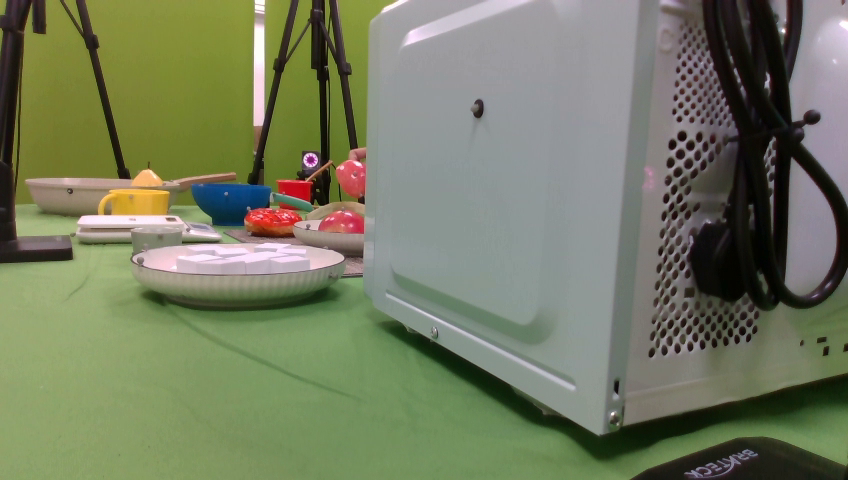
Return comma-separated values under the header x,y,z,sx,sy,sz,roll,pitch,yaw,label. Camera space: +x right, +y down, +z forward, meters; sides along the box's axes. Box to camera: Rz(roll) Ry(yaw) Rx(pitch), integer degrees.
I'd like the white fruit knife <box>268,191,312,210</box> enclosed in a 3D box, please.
x,y,z,sx,sy,sz,roll,pitch,yaw,label
-0.364,-0.105,1.464,0.208,0.027,0.016,15,0,-34,white fruit knife

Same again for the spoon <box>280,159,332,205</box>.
x,y,z,sx,sy,sz,roll,pitch,yaw,label
-0.316,-0.159,1.640,0.194,0.022,0.041,-50,32,-20,spoon

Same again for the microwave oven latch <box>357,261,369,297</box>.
x,y,z,sx,sy,sz,roll,pitch,yaw,label
-0.019,0.033,0.531,0.079,0.029,0.030,-1,7,-27,microwave oven latch

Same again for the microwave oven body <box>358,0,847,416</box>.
x,y,z,sx,sy,sz,roll,pitch,yaw,label
0.211,-0.047,0.474,0.444,0.260,0.324,-1,7,-28,microwave oven body

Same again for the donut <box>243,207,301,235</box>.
x,y,z,sx,sy,sz,roll,pitch,yaw,label
-0.261,-0.032,1.043,0.099,0.048,0.099,4,9,0,donut

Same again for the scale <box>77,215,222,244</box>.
x,y,z,sx,sy,sz,roll,pitch,yaw,label
-0.434,-0.019,0.963,0.202,0.031,0.148,-1,9,-27,scale

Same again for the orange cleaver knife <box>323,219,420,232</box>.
x,y,z,sx,sy,sz,roll,pitch,yaw,label
-0.096,-0.027,1.152,0.077,0.012,0.212,1,7,41,orange cleaver knife

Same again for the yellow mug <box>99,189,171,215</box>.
x,y,z,sx,sy,sz,roll,pitch,yaw,label
-0.519,-0.055,1.080,0.099,0.064,0.131,7,9,26,yellow mug

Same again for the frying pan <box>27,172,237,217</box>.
x,y,z,sx,sy,sz,roll,pitch,yaw,label
-0.624,-0.118,1.387,0.305,0.102,0.490,8,17,32,frying pan

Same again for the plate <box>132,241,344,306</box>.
x,y,z,sx,sy,sz,roll,pitch,yaw,label
-0.187,0.033,0.625,0.208,0.039,0.207,2,8,0,plate

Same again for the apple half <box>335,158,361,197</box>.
x,y,z,sx,sy,sz,roll,pitch,yaw,label
-0.117,-0.118,1.070,0.082,0.081,0.032,-4,-25,-37,apple half

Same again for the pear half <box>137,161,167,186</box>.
x,y,z,sx,sy,sz,roll,pitch,yaw,label
-0.602,-0.120,1.354,0.056,0.110,0.076,4,11,6,pear half

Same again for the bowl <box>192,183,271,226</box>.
x,y,z,sx,sy,sz,roll,pitch,yaw,label
-0.382,-0.071,1.202,0.151,0.077,0.151,3,7,0,bowl

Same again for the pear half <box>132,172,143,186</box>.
x,y,z,sx,sy,sz,roll,pitch,yaw,label
-0.638,-0.113,1.361,0.031,0.088,0.070,5,11,4,pear half

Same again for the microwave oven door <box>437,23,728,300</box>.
x,y,z,sx,sy,sz,roll,pitch,yaw,label
0.181,-0.072,0.621,0.358,0.243,0.039,-2,8,-29,microwave oven door

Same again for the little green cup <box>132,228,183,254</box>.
x,y,z,sx,sy,sz,roll,pitch,yaw,label
-0.342,0.006,0.779,0.061,0.038,0.061,2,8,0,little green cup

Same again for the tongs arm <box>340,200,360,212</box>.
x,y,z,sx,sy,sz,roll,pitch,yaw,label
-0.149,-0.070,1.429,0.051,0.026,0.383,-3,8,-15,tongs arm

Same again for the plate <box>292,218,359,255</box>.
x,y,z,sx,sy,sz,roll,pitch,yaw,label
-0.098,-0.007,0.928,0.209,0.038,0.209,3,8,0,plate

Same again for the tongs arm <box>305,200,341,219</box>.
x,y,z,sx,sy,sz,roll,pitch,yaw,label
-0.236,-0.069,1.414,0.028,0.028,0.387,-4,7,1,tongs arm

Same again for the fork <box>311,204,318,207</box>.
x,y,z,sx,sy,sz,roll,pitch,yaw,label
-0.356,-0.105,1.526,0.208,0.018,0.028,16,-5,-41,fork

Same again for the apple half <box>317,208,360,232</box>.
x,y,z,sx,sy,sz,roll,pitch,yaw,label
-0.122,-0.020,0.902,0.080,0.053,0.075,5,11,22,apple half
